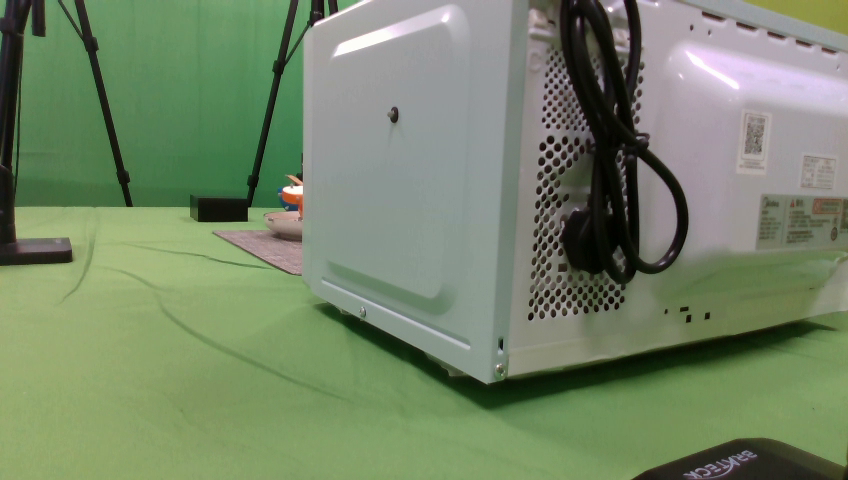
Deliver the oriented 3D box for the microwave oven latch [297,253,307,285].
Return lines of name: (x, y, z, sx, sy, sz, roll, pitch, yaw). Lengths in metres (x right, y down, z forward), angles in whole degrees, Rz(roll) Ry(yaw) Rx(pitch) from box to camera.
microwave oven latch: (-0.082, 0.027, 0.582, 0.079, 0.029, 0.030, -1, 8, -33)

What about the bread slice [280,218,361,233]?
bread slice: (-0.187, -0.026, 1.075, 0.135, 0.018, 0.106, -1, 7, -22)

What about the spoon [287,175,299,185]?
spoon: (-0.262, -0.110, 1.342, 0.042, 0.021, 0.192, -6, 32, -34)

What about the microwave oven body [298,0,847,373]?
microwave oven body: (0.151, -0.055, 0.543, 0.444, 0.260, 0.324, -1, 8, -33)

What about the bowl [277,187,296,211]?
bowl: (-0.241, -0.073, 1.303, 0.151, 0.077, 0.151, 2, 7, 0)

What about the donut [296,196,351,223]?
donut: (-0.179, -0.055, 1.079, 0.099, 0.048, 0.099, 4, 5, 0)

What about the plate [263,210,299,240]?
plate: (-0.180, -0.026, 1.079, 0.208, 0.039, 0.207, 2, 7, 0)

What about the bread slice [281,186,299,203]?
bread slice: (-0.185, -0.082, 1.071, 0.132, 0.019, 0.104, -2, 14, -18)

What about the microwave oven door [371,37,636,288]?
microwave oven door: (0.109, -0.080, 0.686, 0.358, 0.243, 0.039, -2, 9, -33)
